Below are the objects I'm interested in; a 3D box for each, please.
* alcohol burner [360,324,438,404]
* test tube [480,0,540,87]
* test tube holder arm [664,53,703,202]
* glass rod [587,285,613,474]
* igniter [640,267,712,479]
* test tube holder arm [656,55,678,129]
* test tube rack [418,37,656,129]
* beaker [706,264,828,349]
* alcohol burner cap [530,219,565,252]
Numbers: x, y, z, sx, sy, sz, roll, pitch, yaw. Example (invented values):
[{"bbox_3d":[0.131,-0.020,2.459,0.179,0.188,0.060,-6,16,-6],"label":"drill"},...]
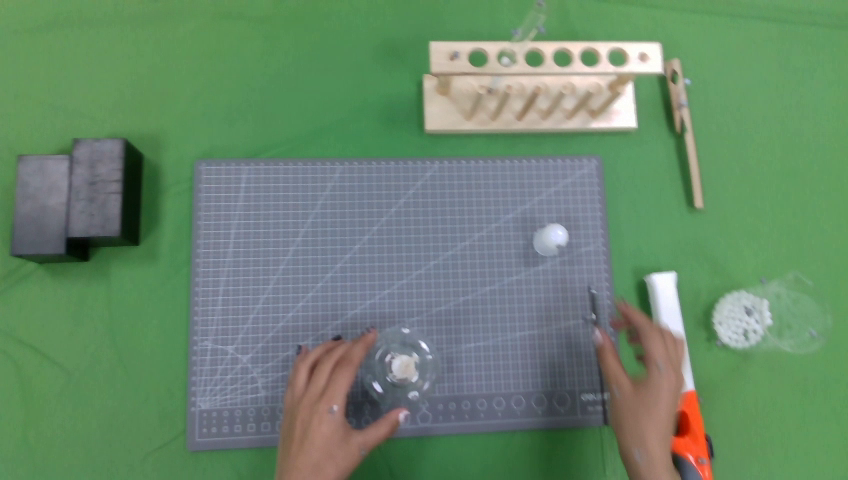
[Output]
[{"bbox_3d":[-0.023,0.118,0.579,0.078,0.119,0.077,1,77,-4],"label":"alcohol burner"},{"bbox_3d":[0.083,-0.194,0.610,0.017,0.150,0.017,3,76,-11],"label":"test tube"},{"bbox_3d":[0.300,-0.131,0.702,0.013,0.015,0.177,-15,81,28],"label":"test tube holder arm"},{"bbox_3d":[0.187,0.146,0.648,0.008,0.008,0.199,-3,80,-6],"label":"glass rod"},{"bbox_3d":[0.270,0.166,0.646,0.057,0.025,0.275,-4,81,-16],"label":"igniter"},{"bbox_3d":[0.288,-0.173,0.711,0.010,0.015,0.087,-14,81,28],"label":"test tube holder arm"},{"bbox_3d":[0.118,-0.169,0.659,0.243,0.085,0.066,-2,80,-6],"label":"test tube rack"},{"bbox_3d":[0.351,0.072,0.633,0.074,0.100,0.083,11,78,-3],"label":"beaker"},{"bbox_3d":[0.135,-0.007,0.652,0.034,0.048,0.033,1,80,-5],"label":"alcohol burner cap"}]
